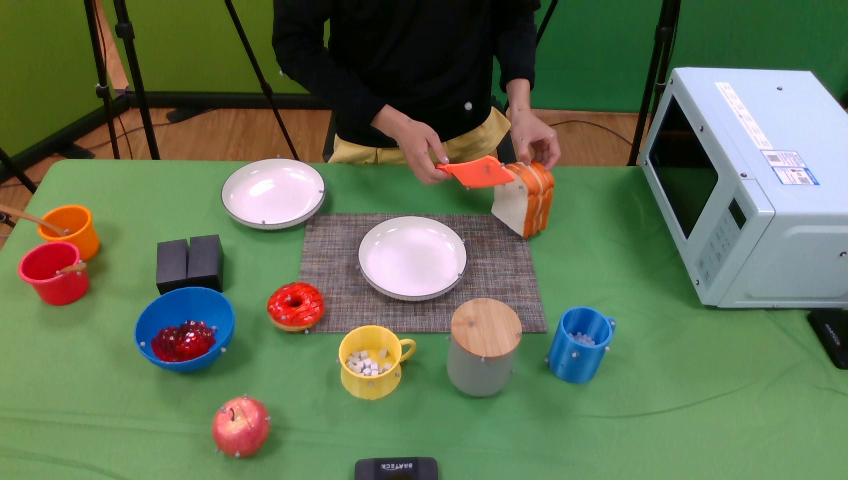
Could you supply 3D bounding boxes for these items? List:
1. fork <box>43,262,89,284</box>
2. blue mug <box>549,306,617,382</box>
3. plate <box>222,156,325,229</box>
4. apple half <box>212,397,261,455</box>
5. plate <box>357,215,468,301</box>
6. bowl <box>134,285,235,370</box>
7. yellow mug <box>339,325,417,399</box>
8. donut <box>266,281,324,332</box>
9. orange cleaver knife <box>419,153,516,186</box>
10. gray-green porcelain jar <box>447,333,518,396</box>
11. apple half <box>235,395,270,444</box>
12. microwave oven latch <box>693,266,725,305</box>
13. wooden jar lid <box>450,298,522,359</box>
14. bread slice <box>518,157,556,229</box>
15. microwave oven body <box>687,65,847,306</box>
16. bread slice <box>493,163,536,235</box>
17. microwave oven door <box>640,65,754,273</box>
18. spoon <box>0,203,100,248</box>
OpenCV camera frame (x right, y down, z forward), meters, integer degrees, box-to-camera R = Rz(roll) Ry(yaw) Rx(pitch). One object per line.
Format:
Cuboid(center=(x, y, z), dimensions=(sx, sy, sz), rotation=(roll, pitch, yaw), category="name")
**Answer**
Cuboid(center=(-0.599, 0.053, 1.013), dimensions=(0.207, 0.019, 0.028), rotation=(-14, 30, 45), category="fork")
Cuboid(center=(0.269, 0.166, 0.998), dimensions=(0.116, 0.106, 0.082), rotation=(-19, 51, -21), category="blue mug")
Cuboid(center=(-0.308, -0.095, 1.251), dimensions=(0.209, 0.038, 0.208), rotation=(2, 47, -2), category="plate")
Cuboid(center=(-0.276, 0.276, 0.877), dimensions=(0.053, 0.075, 0.080), rotation=(-29, 58, -21), category="apple half")
Cuboid(center=(-0.022, 0.037, 1.141), dimensions=(0.208, 0.039, 0.206), rotation=(2, 46, -2), category="plate")
Cuboid(center=(-0.377, 0.155, 0.981), dimensions=(0.151, 0.077, 0.150), rotation=(2, 46, -2), category="bowl")
Cuboid(center=(-0.072, 0.191, 0.978), dimensions=(0.131, 0.064, 0.099), rotation=(-17, 49, -20), category="yellow mug")
Cuboid(center=(-0.222, 0.114, 1.049), dimensions=(0.099, 0.048, 0.098), rotation=(2, 45, -2), category="donut")
Cuboid(center=(0.076, -0.126, 1.120), dimensions=(0.210, 0.077, 0.012), rotation=(2, 55, 47), category="orange cleaver knife")
Cuboid(center=(0.091, 0.178, 0.960), dimensions=(0.106, 0.127, 0.105), rotation=(2, 46, -2), category="gray-green porcelain jar")
Cuboid(center=(-0.245, 0.259, 0.893), dimensions=(0.033, 0.082, 0.081), rotation=(-29, 55, -22), category="apple half")
Cuboid(center=(0.523, 0.082, 1.115), dimensions=(0.030, 0.029, 0.078), rotation=(3, 46, 0), category="microwave oven latch")
Cuboid(center=(0.093, 0.135, 0.914), dimensions=(0.108, 0.021, 0.107), rotation=(2, 48, -3), category="wooden jar lid")
Cuboid(center=(0.219, -0.098, 1.220), dimensions=(0.018, 0.135, 0.106), rotation=(-23, 50, -31), category="bread slice")
Cuboid(center=(0.669, -0.111, 1.176), dimensions=(0.326, 0.261, 0.439), rotation=(0, 46, -3), category="microwave oven body")
Cuboid(center=(0.177, -0.086, 1.196), dimensions=(0.019, 0.132, 0.104), rotation=(-24, 46, -27), category="bread slice")
Cuboid(center=(0.523, -0.147, 1.193), dimensions=(0.039, 0.245, 0.353), rotation=(0, 47, -3), category="microwave oven door")
Cuboid(center=(-0.683, -0.031, 1.088), dimensions=(0.195, 0.021, 0.041), rotation=(33, 33, -38), category="spoon")
